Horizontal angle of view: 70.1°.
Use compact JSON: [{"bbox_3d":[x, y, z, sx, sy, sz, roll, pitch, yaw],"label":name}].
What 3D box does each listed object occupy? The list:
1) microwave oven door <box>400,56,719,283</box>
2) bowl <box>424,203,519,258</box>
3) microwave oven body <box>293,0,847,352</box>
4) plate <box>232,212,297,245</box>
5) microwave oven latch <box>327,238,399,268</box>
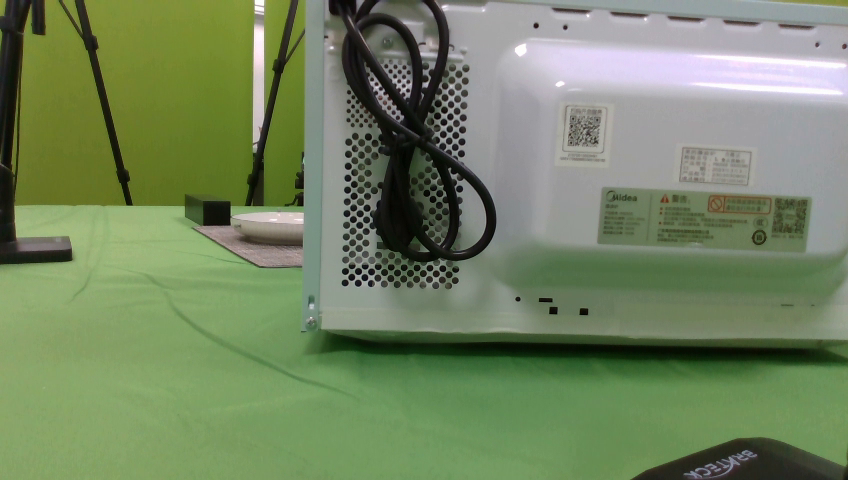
[{"bbox_3d":[0.155,-0.077,0.698,0.356,0.243,0.039,2,8,-5],"label":"microwave oven door"},{"bbox_3d":[0.073,-0.015,0.962,0.151,0.077,0.151,3,8,0],"label":"bowl"},{"bbox_3d":[0.122,-0.055,0.550,0.442,0.260,0.325,3,7,-5],"label":"microwave oven body"},{"bbox_3d":[-0.214,-0.019,1.018,0.208,0.039,0.207,2,7,0],"label":"plate"},{"bbox_3d":[-0.069,0.015,0.694,0.079,0.029,0.030,3,7,-3],"label":"microwave oven latch"}]
